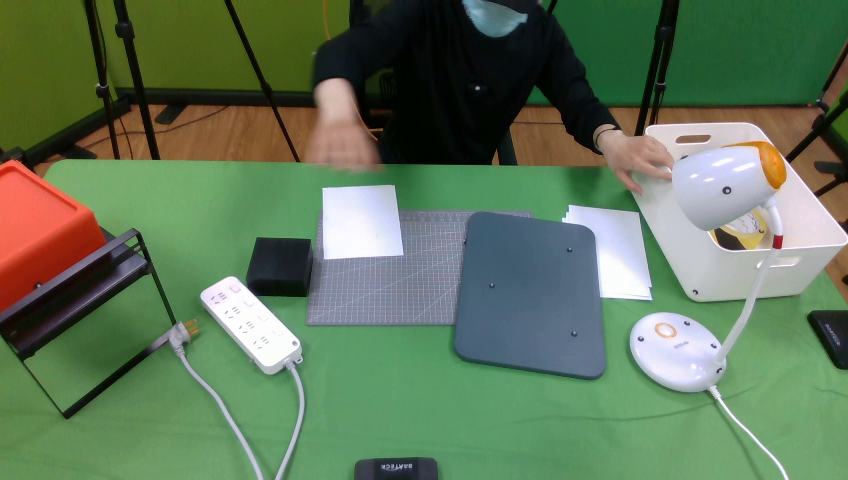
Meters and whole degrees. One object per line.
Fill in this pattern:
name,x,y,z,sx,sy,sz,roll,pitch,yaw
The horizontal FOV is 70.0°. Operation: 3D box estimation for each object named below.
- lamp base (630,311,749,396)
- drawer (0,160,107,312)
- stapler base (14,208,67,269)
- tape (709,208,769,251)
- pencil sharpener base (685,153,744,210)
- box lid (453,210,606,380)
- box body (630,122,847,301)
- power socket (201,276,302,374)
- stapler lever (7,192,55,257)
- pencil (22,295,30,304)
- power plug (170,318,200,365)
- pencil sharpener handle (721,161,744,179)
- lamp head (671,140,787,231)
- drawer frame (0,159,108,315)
lamp base,0.447,0.143,0.983,0.161,0.181,0.178,-24,55,-24
drawer,-0.610,-0.001,0.866,0.194,0.073,0.211,29,52,21
stapler base,-0.578,-0.010,0.903,0.041,0.024,0.130,-30,57,-25
tape,0.633,-0.025,1.238,0.117,0.053,0.116,2,46,-1
pencil sharpener base,0.619,-0.124,1.293,0.077,0.107,0.061,-8,47,-12
box lid,0.200,0.085,1.138,0.263,0.015,0.369,8,47,3
box body,0.594,-0.062,1.202,0.254,0.161,0.361,-4,47,-7
power socket,-0.297,0.141,1.034,0.072,0.033,0.225,-34,58,-30
stapler lever,-0.575,-0.026,0.885,0.027,0.040,0.117,-31,56,-25
pencil,-0.590,0.010,0.883,0.012,0.012,0.193,-17,61,-19
power plug,-0.392,0.167,1.014,0.052,0.035,0.072,-30,90,-23
pencil sharpener handle,0.668,-0.147,1.299,0.031,0.068,0.036,-8,78,-12
lamp head,0.415,-0.078,0.811,0.113,0.123,0.112,12,70,-37
drawer frame,-0.611,0.000,0.863,0.201,0.083,0.213,27,51,20
